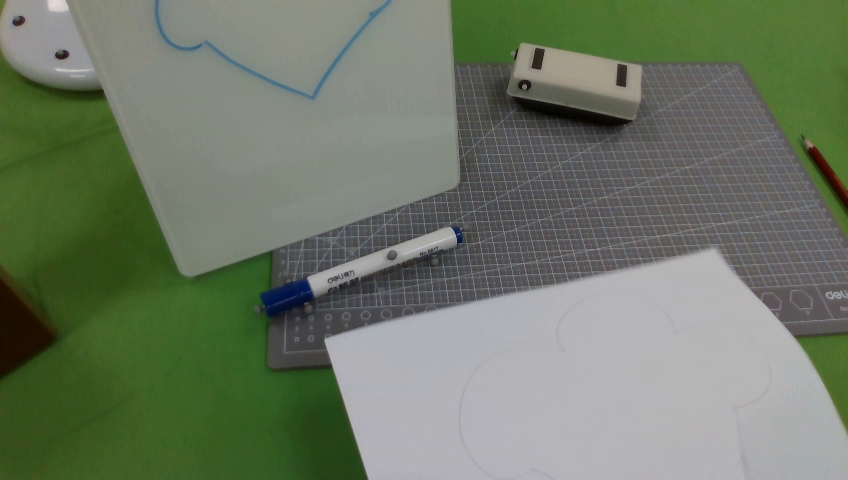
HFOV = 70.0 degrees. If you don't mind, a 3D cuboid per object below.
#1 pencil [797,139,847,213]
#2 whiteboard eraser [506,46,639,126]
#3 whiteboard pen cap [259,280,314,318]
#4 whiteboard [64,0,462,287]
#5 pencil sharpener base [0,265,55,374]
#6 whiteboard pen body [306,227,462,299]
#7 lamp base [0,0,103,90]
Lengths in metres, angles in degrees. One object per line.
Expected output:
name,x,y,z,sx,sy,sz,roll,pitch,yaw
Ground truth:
pencil,0.359,-0.016,0.499,0.012,0.012,0.192,-5,54,-9
whiteboard eraser,0.131,-0.135,0.535,0.112,0.042,0.055,13,55,3
whiteboard pen cap,-0.090,0.039,0.400,0.033,0.018,0.018,-21,59,-18
whiteboard,-0.108,-0.160,0.405,0.217,0.308,0.142,-20,39,-18
pencil sharpener base,-0.272,0.035,0.334,0.061,0.108,0.076,38,60,20
whiteboard pen body,-0.037,0.019,0.418,0.141,0.017,0.017,-20,59,-18
lamp base,-0.296,-0.241,0.483,0.178,0.182,0.160,31,57,19
